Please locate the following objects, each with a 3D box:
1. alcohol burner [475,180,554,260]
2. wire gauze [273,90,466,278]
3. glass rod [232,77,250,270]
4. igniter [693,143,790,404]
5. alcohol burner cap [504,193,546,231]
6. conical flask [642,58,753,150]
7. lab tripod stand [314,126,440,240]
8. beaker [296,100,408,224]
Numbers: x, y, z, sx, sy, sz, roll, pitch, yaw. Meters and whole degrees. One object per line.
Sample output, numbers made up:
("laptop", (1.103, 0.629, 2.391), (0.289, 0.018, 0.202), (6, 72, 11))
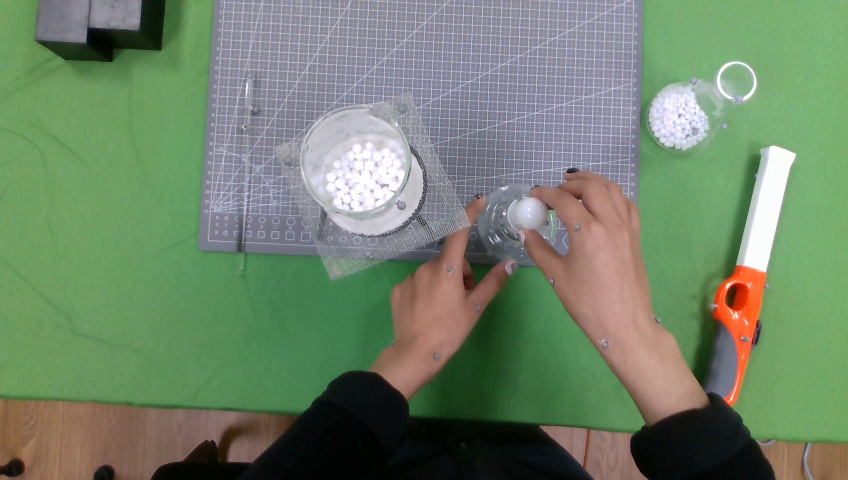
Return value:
("alcohol burner", (0.088, -0.021, 0.572), (0.078, 0.119, 0.077), (0, 85, 1))
("wire gauze", (-0.045, -0.046, 0.495), (0.125, 0.011, 0.121), (-23, 90, -4))
("glass rod", (-0.187, -0.068, 0.621), (0.008, 0.008, 0.199), (4, 89, -1))
("igniter", (0.326, 0.036, 0.620), (0.057, 0.025, 0.276), (16, 87, -10))
("alcohol burner cap", (0.089, -0.026, 0.520), (0.034, 0.048, 0.034), (0, 90, -4))
("conical flask", (0.266, -0.135, 0.581), (0.075, 0.122, 0.075), (0, 86, 0))
("lab tripod stand", (-0.047, -0.042, 0.561), (0.148, 0.131, 0.148), (0, 88, -1))
("beaker", (-0.047, -0.053, 0.448), (0.074, 0.100, 0.084), (25, 86, 0))
